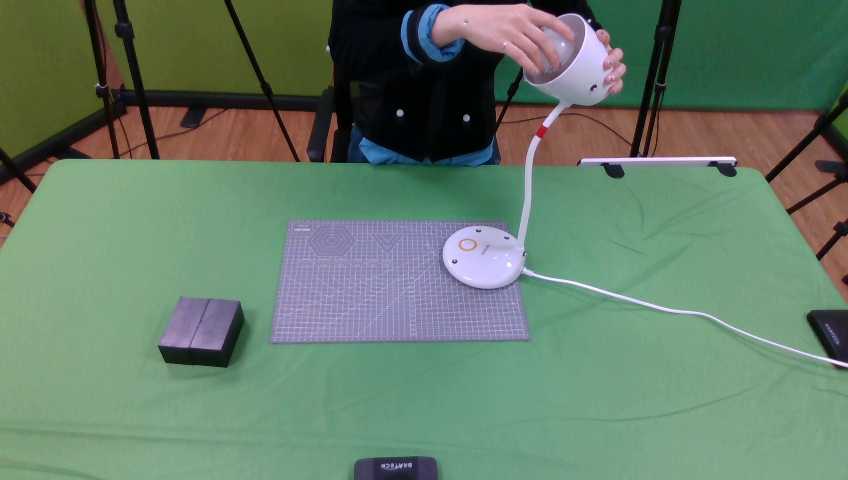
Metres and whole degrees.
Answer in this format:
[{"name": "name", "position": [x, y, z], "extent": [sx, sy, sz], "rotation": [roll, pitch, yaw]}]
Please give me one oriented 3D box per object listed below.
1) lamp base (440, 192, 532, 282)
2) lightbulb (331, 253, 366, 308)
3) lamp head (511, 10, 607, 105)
[{"name": "lamp base", "position": [0.127, -0.032, 1.123], "extent": [0.179, 0.181, 0.159], "rotation": [11, 47, 2]}, {"name": "lightbulb", "position": [-0.131, 0.074, 1.094], "extent": [0.059, 0.060, 0.107], "rotation": [-15, 65, -18]}, {"name": "lamp head", "position": [0.203, -0.249, 0.880], "extent": [0.123, 0.112, 0.111], "rotation": [30, 35, -33]}]
